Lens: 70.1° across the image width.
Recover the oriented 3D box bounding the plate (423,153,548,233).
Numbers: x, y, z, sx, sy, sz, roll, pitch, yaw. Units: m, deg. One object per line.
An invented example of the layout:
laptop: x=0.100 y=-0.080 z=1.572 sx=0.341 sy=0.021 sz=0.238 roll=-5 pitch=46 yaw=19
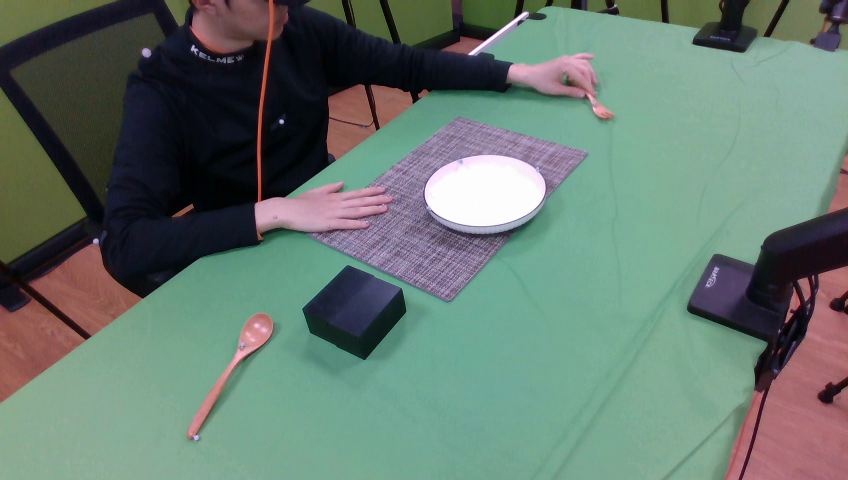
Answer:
plate: x=0.104 y=-0.076 z=1.024 sx=0.209 sy=0.038 sz=0.208 roll=-4 pitch=40 yaw=4

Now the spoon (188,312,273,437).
spoon: x=-0.258 y=0.173 z=0.803 sx=0.041 sy=0.021 sz=0.193 roll=20 pitch=45 yaw=6

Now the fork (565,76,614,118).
fork: x=0.344 y=-0.304 z=1.274 sx=0.028 sy=0.019 sz=0.206 roll=-17 pitch=44 yaw=-4
